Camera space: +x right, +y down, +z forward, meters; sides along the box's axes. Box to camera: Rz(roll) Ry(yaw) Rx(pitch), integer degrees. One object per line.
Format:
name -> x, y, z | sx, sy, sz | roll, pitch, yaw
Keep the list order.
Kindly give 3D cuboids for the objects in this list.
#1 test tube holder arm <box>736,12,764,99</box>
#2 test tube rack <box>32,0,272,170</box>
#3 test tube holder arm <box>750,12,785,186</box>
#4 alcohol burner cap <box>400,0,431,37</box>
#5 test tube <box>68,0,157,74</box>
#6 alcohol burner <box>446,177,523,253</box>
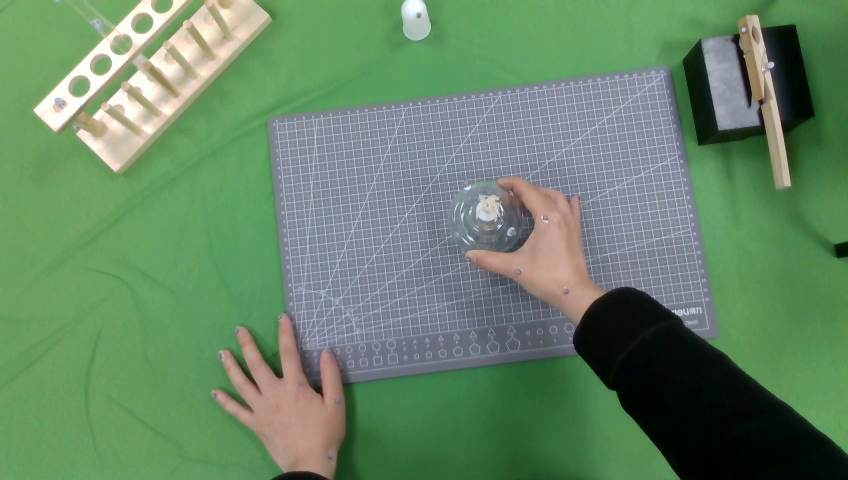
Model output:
test tube holder arm -> 0.331, -0.186, 0.612 | 0.010, 0.015, 0.087 | -6, 84, -14
test tube rack -> -0.280, -0.193, 0.643 | 0.066, 0.085, 0.242 | 42, 86, 6
test tube holder arm -> 0.342, -0.142, 0.609 | 0.013, 0.015, 0.178 | -5, 83, -14
alcohol burner cap -> -0.010, -0.250, 0.666 | 0.034, 0.048, 0.033 | -1, 78, 5
test tube -> -0.305, -0.204, 0.595 | 0.017, 0.151, 0.017 | -1, 77, 4
alcohol burner -> 0.060, -0.028, 0.597 | 0.078, 0.119, 0.077 | 0, 82, 4
